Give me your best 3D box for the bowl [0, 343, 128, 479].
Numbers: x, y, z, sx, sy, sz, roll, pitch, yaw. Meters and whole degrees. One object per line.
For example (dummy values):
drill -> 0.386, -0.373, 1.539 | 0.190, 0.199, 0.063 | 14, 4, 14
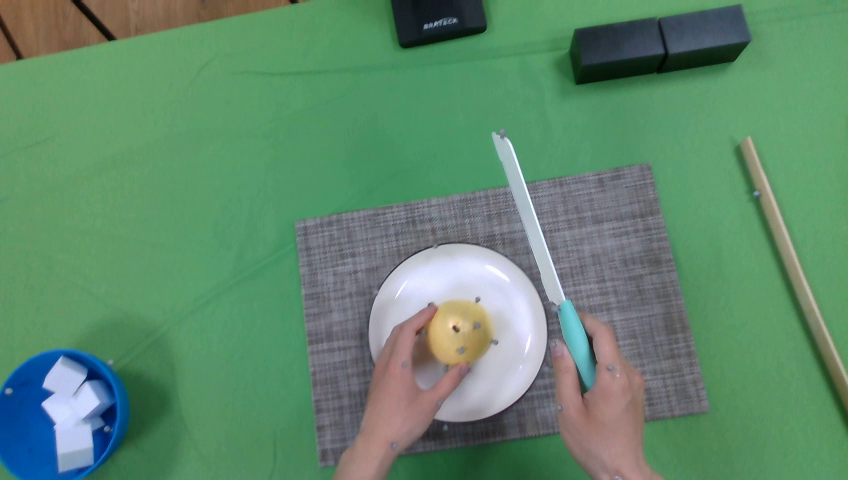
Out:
bowl -> -0.405, 0.196, 0.701 | 0.151, 0.077, 0.150 | -1, 79, 4

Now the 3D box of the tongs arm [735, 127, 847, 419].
tongs arm -> 0.437, 0.046, 0.697 | 0.028, 0.028, 0.385 | -16, 78, 0

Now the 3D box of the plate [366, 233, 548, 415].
plate -> 0.038, 0.096, 0.706 | 0.207, 0.039, 0.206 | -1, 78, 4

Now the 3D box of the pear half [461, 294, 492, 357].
pear half -> 0.059, 0.093, 0.669 | 0.031, 0.088, 0.070 | -6, 75, 6

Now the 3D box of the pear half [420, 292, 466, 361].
pear half -> 0.022, 0.093, 0.662 | 0.056, 0.110, 0.076 | -5, 74, 5

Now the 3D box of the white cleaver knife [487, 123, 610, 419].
white cleaver knife -> 0.112, 0.031, 0.538 | 0.021, 0.065, 0.287 | -20, 102, 0
